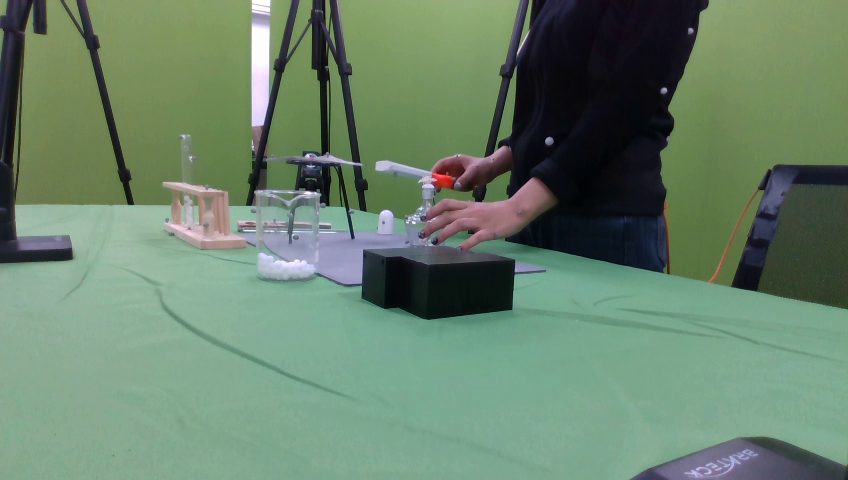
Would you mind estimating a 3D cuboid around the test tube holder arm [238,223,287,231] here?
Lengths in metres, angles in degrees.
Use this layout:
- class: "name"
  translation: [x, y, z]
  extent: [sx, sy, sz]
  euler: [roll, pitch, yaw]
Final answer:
- class: "test tube holder arm"
  translation: [-0.296, -0.024, 1.113]
  extent: [0.088, 0.015, 0.010]
  euler: [-1, 42, -32]

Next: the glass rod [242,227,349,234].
- class: "glass rod"
  translation: [-0.232, -0.017, 1.110]
  extent: [0.201, 0.008, 0.008]
  euler: [2, 6, -30]

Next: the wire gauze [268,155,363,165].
- class: "wire gauze"
  translation: [-0.185, -0.136, 1.016]
  extent: [0.126, 0.011, 0.121]
  euler: [-4, 11, -33]

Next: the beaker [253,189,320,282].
- class: "beaker"
  translation: [-0.156, -0.005, 0.689]
  extent: [0.074, 0.100, 0.083]
  euler: [0, 8, -14]

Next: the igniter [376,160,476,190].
- class: "igniter"
  translation: [0.012, -0.125, 1.176]
  extent: [0.057, 0.025, 0.278]
  euler: [4, -1, 39]

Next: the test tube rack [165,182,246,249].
- class: "test tube rack"
  translation: [-0.360, -0.045, 0.982]
  extent: [0.067, 0.085, 0.241]
  euler: [-3, 9, -34]

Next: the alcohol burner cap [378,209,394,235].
- class: "alcohol burner cap"
  translation: [-0.072, -0.035, 1.145]
  extent: [0.034, 0.048, 0.034]
  euler: [2, 7, 0]

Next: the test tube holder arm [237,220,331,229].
- class: "test tube holder arm"
  translation: [-0.260, -0.028, 1.141]
  extent: [0.179, 0.015, 0.013]
  euler: [-1, 42, -33]

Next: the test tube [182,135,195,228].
- class: "test tube"
  translation: [-0.382, -0.095, 0.983]
  extent: [0.017, 0.150, 0.017]
  euler: [-1, 2, 0]

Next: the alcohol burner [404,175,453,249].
- class: "alcohol burner"
  translation: [0.007, -0.045, 0.971]
  extent: [0.078, 0.119, 0.078]
  euler: [1, 9, 0]

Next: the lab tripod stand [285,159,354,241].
- class: "lab tripod stand"
  translation: [-0.187, -0.068, 1.013]
  extent: [0.148, 0.131, 0.148]
  euler: [4, 9, 0]
